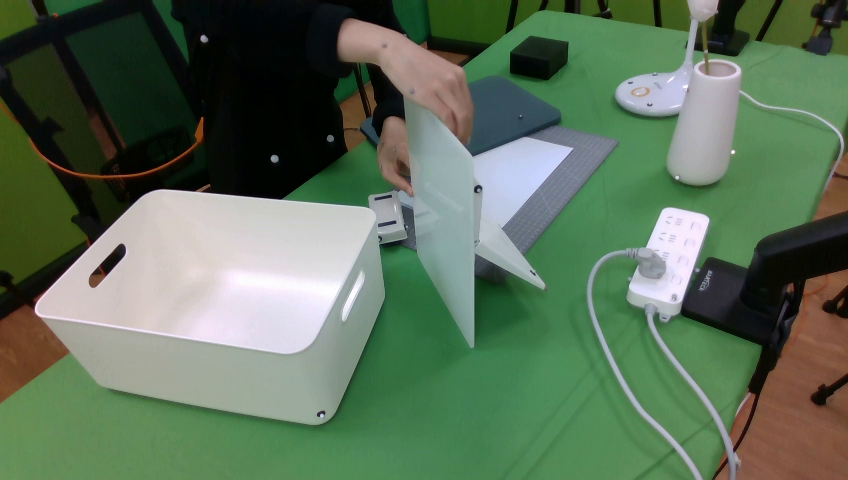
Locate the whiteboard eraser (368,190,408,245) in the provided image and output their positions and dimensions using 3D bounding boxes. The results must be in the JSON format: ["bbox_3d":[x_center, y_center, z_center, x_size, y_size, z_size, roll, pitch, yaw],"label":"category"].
[{"bbox_3d":[-0.061,-0.035,1.006,0.056,0.042,0.112,-9,40,-3],"label":"whiteboard eraser"}]

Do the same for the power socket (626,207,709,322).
[{"bbox_3d":[0.360,0.026,0.886,0.072,0.033,0.227,17,46,26],"label":"power socket"}]

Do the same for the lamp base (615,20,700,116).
[{"bbox_3d":[0.484,-0.364,1.211,0.180,0.181,0.159,-15,41,-14],"label":"lamp base"}]

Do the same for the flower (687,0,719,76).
[{"bbox_3d":[0.436,-0.242,0.934,0.038,0.364,0.043,-24,49,9],"label":"flower"}]

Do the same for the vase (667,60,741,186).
[{"bbox_3d":[0.463,-0.189,0.994,0.098,0.201,0.097,-4,40,4],"label":"vase"}]

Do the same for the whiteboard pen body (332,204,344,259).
[{"bbox_3d":[-0.146,-0.015,1.020,0.017,0.017,0.140,-7,40,0],"label":"whiteboard pen body"}]

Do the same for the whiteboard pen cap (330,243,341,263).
[{"bbox_3d":[-0.142,0.021,0.975,0.018,0.018,0.033,-7,41,0],"label":"whiteboard pen cap"}]

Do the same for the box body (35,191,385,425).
[{"bbox_3d":[-0.254,0.082,0.807,0.363,0.161,0.253,5,42,14],"label":"box body"}]

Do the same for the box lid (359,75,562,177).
[{"bbox_3d":[0.075,-0.249,1.267,0.373,0.015,0.261,-23,42,-18],"label":"box lid"}]

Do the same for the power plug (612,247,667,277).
[{"bbox_3d":[0.306,0.031,0.852,0.072,0.053,0.035,22,49,38],"label":"power plug"}]

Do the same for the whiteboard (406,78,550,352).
[{"bbox_3d":[0.080,-0.043,0.807,0.144,0.306,0.215,-13,40,-14],"label":"whiteboard"}]
